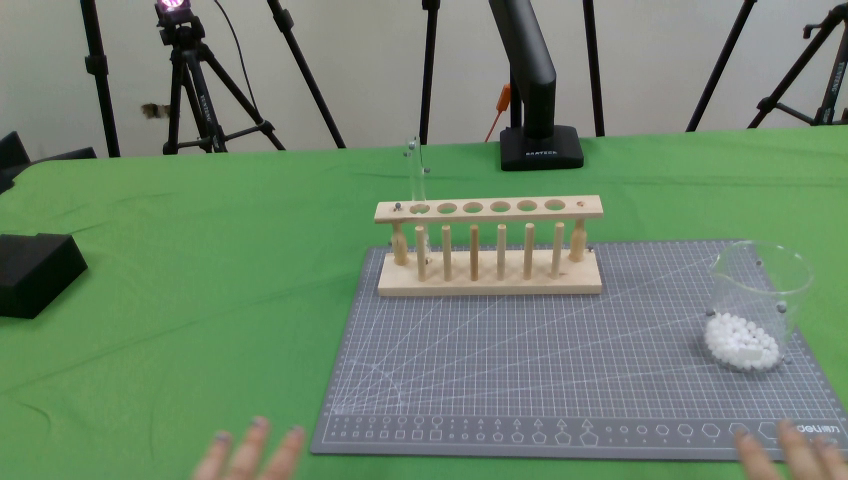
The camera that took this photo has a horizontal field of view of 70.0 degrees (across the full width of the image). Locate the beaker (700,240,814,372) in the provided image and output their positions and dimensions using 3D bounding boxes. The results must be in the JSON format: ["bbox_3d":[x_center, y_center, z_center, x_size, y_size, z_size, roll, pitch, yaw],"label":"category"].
[{"bbox_3d":[0.289,0.061,0.543,0.084,0.101,0.073,-2,35,8],"label":"beaker"}]

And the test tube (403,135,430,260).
[{"bbox_3d":[-0.007,-0.042,0.659,0.017,0.151,0.017,-4,32,3],"label":"test tube"}]

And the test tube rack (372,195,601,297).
[{"bbox_3d":[0.067,0.008,0.664,0.242,0.086,0.066,-1,35,7],"label":"test tube rack"}]
